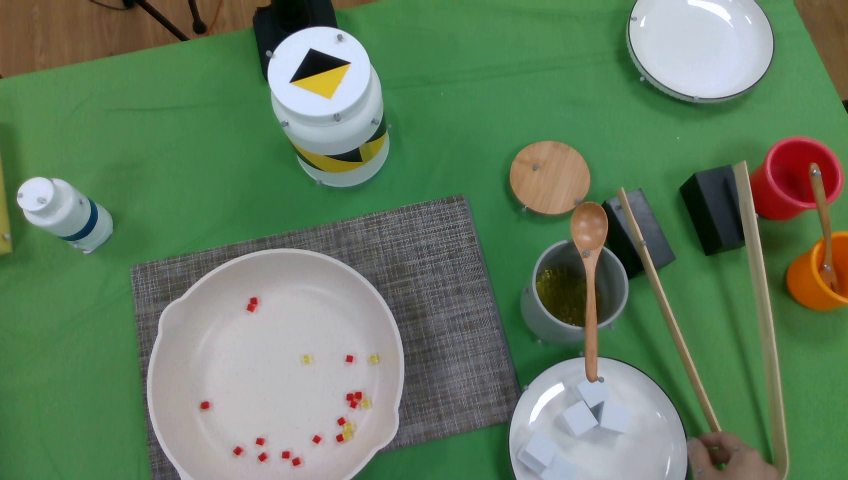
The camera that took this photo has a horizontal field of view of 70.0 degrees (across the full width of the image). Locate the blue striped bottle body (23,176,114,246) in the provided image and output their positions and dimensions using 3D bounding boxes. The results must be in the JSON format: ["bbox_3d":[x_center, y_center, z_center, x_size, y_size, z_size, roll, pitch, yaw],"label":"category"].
[{"bbox_3d":[-0.448,-0.038,0.757,0.063,0.121,0.062,0,72,1],"label":"blue striped bottle body"}]

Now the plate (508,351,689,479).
[{"bbox_3d":[0.202,0.236,0.715,0.208,0.039,0.206,0,73,0],"label":"plate"}]

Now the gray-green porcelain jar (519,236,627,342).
[{"bbox_3d":[0.171,0.063,0.720,0.106,0.127,0.105,0,73,1],"label":"gray-green porcelain jar"}]

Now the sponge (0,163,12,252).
[{"bbox_3d":[-0.634,-0.074,0.799,0.118,0.061,0.205,-17,75,-5],"label":"sponge"}]

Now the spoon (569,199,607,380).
[{"bbox_3d":[0.177,0.051,0.651,0.041,0.022,0.193,3,77,-1],"label":"spoon"}]

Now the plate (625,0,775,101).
[{"bbox_3d":[0.391,-0.289,0.871,0.209,0.038,0.208,0,73,1],"label":"plate"}]

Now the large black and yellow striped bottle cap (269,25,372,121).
[{"bbox_3d":[-0.116,-0.189,0.680,0.115,0.019,0.114,0,75,0],"label":"large black and yellow striped bottle cap"}]

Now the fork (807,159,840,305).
[{"bbox_3d":[0.478,-0.006,0.727,0.028,0.018,0.209,-26,119,1],"label":"fork"}]

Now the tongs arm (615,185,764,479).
[{"bbox_3d":[0.318,0.109,0.723,0.051,0.026,0.383,-17,84,-7],"label":"tongs arm"}]

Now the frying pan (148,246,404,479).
[{"bbox_3d":[-0.217,0.237,0.678,0.306,0.103,0.486,27,67,9],"label":"frying pan"}]

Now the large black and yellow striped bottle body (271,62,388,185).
[{"bbox_3d":[-0.115,-0.162,0.760,0.131,0.185,0.130,0,72,1],"label":"large black and yellow striped bottle body"}]

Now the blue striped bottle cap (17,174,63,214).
[{"bbox_3d":[-0.449,-0.055,0.708,0.044,0.021,0.044,0,75,0],"label":"blue striped bottle cap"}]

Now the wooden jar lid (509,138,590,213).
[{"bbox_3d":[0.168,-0.086,0.821,0.108,0.021,0.108,0,75,1],"label":"wooden jar lid"}]

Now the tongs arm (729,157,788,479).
[{"bbox_3d":[0.399,0.091,0.730,0.028,0.028,0.386,-3,83,-8],"label":"tongs arm"}]
